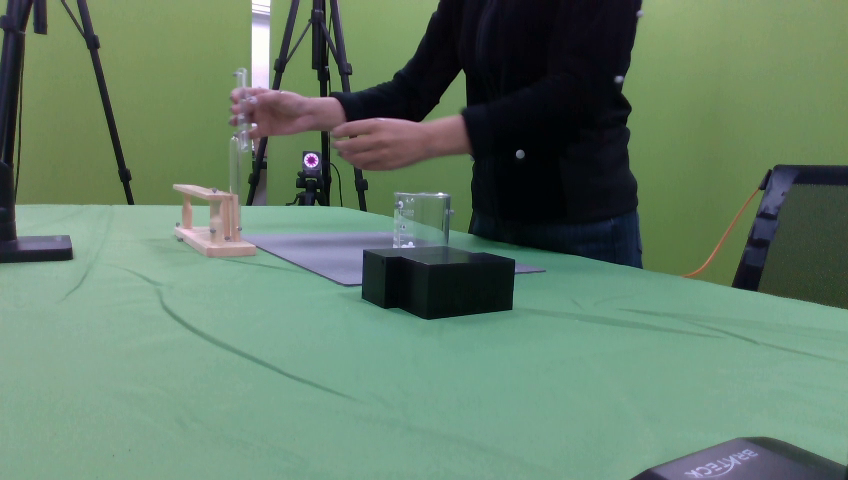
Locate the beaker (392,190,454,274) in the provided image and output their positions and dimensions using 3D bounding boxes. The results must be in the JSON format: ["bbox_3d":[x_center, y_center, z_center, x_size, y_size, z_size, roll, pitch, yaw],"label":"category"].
[{"bbox_3d":[-0.005,-0.011,0.760,0.074,0.100,0.083,-2,8,-32],"label":"beaker"}]

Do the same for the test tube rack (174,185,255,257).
[{"bbox_3d":[-0.324,-0.035,0.922,0.067,0.085,0.241,-2,9,-32],"label":"test tube rack"}]

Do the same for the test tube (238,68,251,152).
[{"bbox_3d":[-0.280,-0.204,0.946,0.017,0.150,0.017,-7,-21,-2],"label":"test tube"}]

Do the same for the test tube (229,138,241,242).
[{"bbox_3d":[-0.270,-0.071,0.866,0.017,0.150,0.017,2,8,0],"label":"test tube"}]
